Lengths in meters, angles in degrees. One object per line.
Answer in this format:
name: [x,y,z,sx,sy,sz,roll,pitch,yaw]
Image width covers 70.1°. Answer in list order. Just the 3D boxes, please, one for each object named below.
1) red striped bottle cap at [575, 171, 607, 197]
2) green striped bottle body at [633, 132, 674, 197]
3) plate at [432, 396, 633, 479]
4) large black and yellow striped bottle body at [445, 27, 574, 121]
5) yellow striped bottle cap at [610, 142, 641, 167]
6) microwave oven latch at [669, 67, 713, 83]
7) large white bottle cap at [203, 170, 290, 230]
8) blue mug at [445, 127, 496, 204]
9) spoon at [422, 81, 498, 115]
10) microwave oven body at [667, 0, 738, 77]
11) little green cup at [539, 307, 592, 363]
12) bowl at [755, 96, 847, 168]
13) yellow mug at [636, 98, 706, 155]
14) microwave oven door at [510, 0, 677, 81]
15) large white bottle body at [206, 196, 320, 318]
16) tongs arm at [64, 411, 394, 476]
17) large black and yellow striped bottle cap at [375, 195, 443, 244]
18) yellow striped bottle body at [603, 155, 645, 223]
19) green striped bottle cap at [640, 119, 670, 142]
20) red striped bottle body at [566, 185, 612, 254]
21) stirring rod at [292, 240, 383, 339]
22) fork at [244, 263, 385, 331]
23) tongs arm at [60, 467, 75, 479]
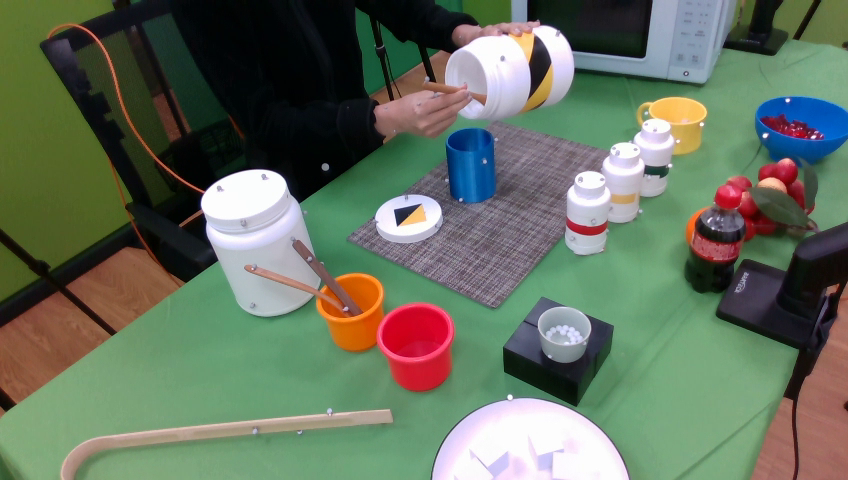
red striped bottle cap: [0.242,-0.082,0.876,0.044,0.018,0.044,-5,44,5]
green striped bottle body: [0.376,-0.135,1.001,0.063,0.120,0.063,-5,41,5]
plate: [0.112,0.261,0.634,0.209,0.038,0.208,-5,40,4]
large black and yellow striped bottle body: [0.138,-0.269,0.989,0.185,0.131,0.129,-21,41,-31]
yellow striped bottle cap: [0.308,-0.131,0.925,0.044,0.019,0.044,-4,45,5]
microwave oven latch: [0.556,-0.348,1.261,0.078,0.029,0.030,16,46,27]
large white bottle cap: [-0.241,-0.057,0.822,0.115,0.018,0.114,-4,41,4]
blue mug: [0.082,-0.139,1.058,0.082,0.106,0.116,-2,41,6]
spoon: [0.069,-0.215,0.911,0.195,0.041,0.021,5,53,-40]
microwave oven body: [0.462,-0.552,1.369,0.439,0.261,0.326,15,45,26]
little green cup: [0.168,0.115,0.721,0.061,0.039,0.061,-4,42,4]
bowl: [0.645,-0.177,1.041,0.151,0.077,0.150,-5,40,4]
yellow mug: [0.453,-0.217,1.128,0.100,0.064,0.129,-34,46,-27]
microwave oven door: [0.354,-0.478,1.290,0.353,0.245,0.039,15,45,25]
large white bottle body: [-0.233,0.008,0.876,0.130,0.185,0.130,-4,40,4]
tongs arm: [-0.228,0.241,0.715,0.385,0.026,0.050,-5,43,4]
large black and yellow striped bottle cap: [-0.026,-0.036,1.022,0.115,0.019,0.114,-4,41,4]
yellow striped bottle body: [0.314,-0.091,0.958,0.063,0.121,0.062,-4,40,4]
green striped bottle cap: [0.370,-0.174,0.968,0.044,0.020,0.044,-3,41,3]
red striped bottle body: [0.248,-0.041,0.910,0.063,0.120,0.062,-4,41,4]
stirring rod: [-0.118,0.068,0.826,0.176,0.006,0.014,49,59,-4]
fork: [-0.142,0.077,0.807,0.209,0.018,0.028,30,41,-24]
tongs arm: [-0.239,0.301,0.648,0.386,0.028,0.028,6,49,16]
